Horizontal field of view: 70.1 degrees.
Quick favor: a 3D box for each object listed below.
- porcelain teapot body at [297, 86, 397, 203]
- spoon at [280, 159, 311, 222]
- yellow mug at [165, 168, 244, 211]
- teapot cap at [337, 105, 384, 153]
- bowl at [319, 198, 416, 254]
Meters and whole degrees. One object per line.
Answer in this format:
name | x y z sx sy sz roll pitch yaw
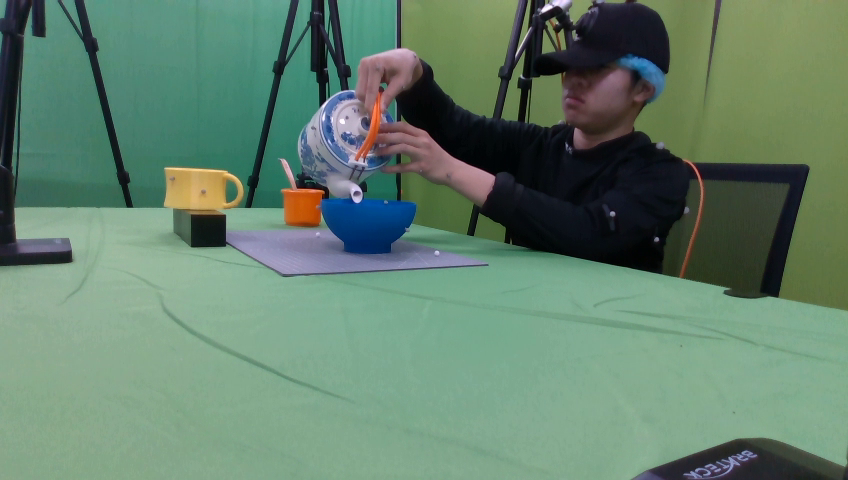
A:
porcelain teapot body | -0.122 -0.151 1.036 0.146 0.205 0.224 8 -14 -28
spoon | -0.285 -0.111 1.320 0.042 0.193 0.021 -2 -36 -31
yellow mug | -0.370 -0.086 1.028 0.131 0.064 0.100 5 8 4
teapot cap | -0.104 -0.186 1.008 0.085 0.085 0.043 -1 -6 -30
bowl | -0.089 -0.022 0.941 0.151 0.077 0.151 2 8 0
